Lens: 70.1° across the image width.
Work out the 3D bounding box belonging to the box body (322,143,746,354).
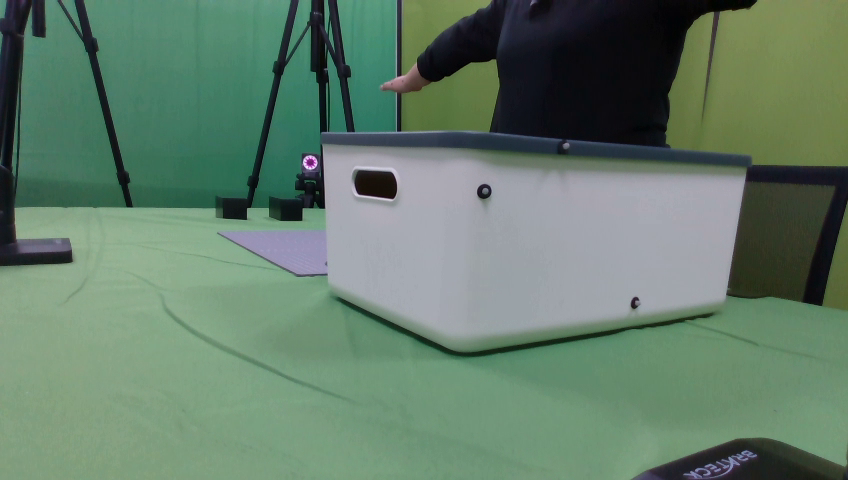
[{"bbox_3d":[0.106,-0.011,0.603,0.366,0.160,0.253,-2,8,-34],"label":"box body"}]

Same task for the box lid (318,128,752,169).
[{"bbox_3d":[0.107,-0.085,0.594,0.373,0.015,0.262,-1,8,-34],"label":"box lid"}]
